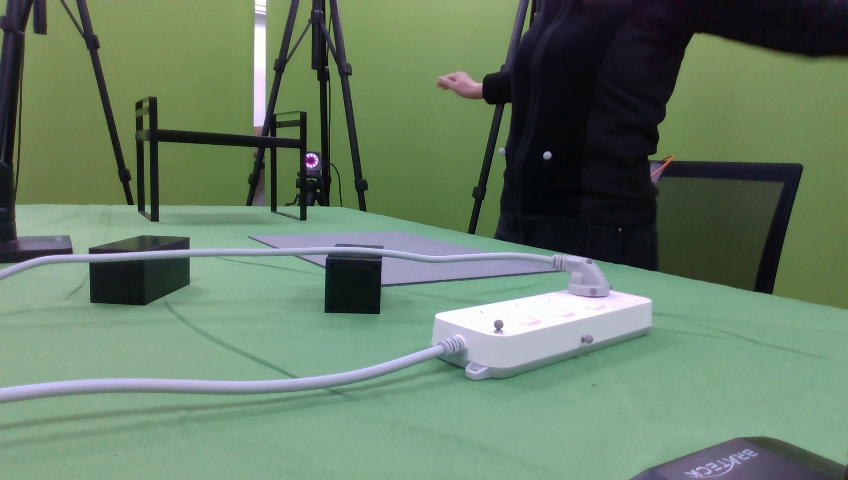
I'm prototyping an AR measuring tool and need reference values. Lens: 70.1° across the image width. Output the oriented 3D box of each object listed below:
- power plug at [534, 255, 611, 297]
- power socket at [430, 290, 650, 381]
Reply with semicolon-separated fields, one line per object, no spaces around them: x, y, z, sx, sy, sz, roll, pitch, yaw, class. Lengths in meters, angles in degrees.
0.136;0.041;0.549;0.035;0.052;0.072;-2;6;-32;power plug
0.100;0.067;0.480;0.228;0.032;0.072;-5;10;-42;power socket
